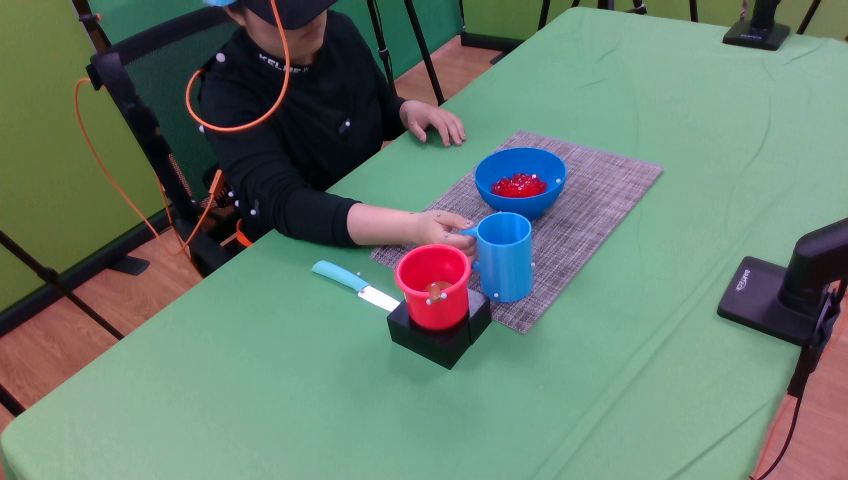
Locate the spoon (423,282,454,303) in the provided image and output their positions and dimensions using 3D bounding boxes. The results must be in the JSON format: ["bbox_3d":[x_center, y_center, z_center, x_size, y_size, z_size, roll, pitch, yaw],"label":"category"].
[{"bbox_3d":[0.015,0.062,0.733,0.041,0.021,0.194,-5,-4,3],"label":"spoon"}]

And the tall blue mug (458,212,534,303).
[{"bbox_3d":[0.101,0.026,0.858,0.107,0.108,0.077,-3,40,8],"label":"tall blue mug"}]

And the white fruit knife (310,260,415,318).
[{"bbox_3d":[-0.094,0.074,0.920,0.206,0.016,0.027,24,78,30],"label":"white fruit knife"}]

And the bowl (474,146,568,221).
[{"bbox_3d":[0.161,-0.083,1.001,0.151,0.077,0.150,-5,40,5],"label":"bowl"}]
